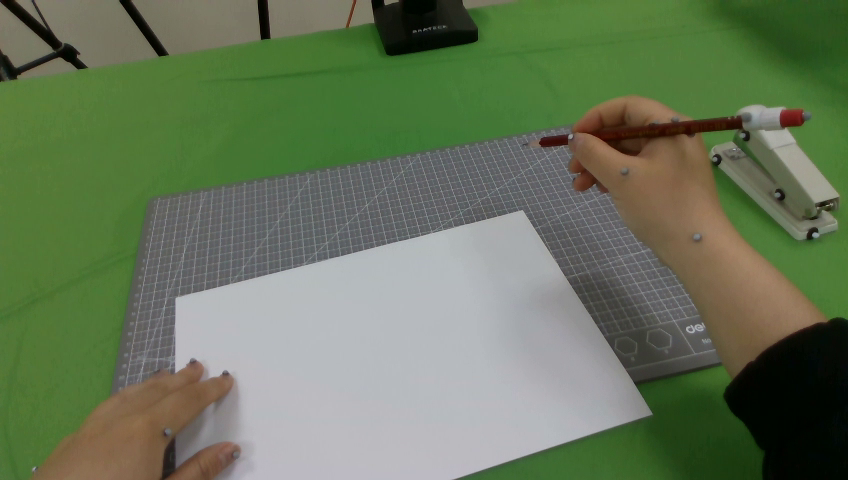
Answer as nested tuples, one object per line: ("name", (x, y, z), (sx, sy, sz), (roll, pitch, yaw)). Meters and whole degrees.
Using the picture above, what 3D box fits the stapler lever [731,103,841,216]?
("stapler lever", (0.301, -0.071, 0.509), (0.027, 0.040, 0.116), (-16, 48, -7))

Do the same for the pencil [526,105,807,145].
("pencil", (0.136, -0.069, 0.384), (0.012, 0.012, 0.192), (-38, 24, -29))

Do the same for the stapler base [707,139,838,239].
("stapler base", (0.302, -0.055, 0.528), (0.041, 0.025, 0.129), (-16, 47, -8))
